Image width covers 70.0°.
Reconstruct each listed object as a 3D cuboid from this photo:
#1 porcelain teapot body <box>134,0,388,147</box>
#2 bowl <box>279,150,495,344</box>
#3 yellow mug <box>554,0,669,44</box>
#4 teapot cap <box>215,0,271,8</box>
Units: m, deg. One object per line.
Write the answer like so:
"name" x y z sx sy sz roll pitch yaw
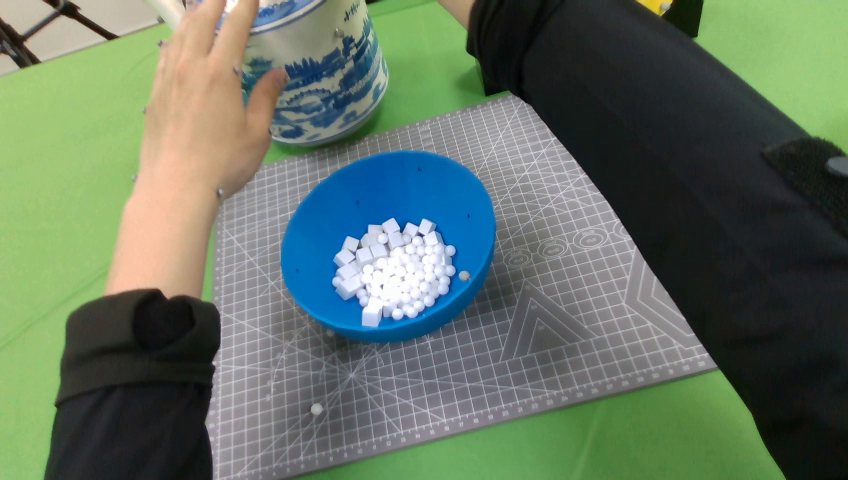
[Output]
"porcelain teapot body" -0.154 -0.196 0.533 0.205 0.228 0.144 -5 55 12
"bowl" -0.019 0.016 0.437 0.151 0.077 0.150 -7 54 10
"yellow mug" 0.154 -0.220 0.508 0.099 0.064 0.130 14 62 23
"teapot cap" -0.136 -0.219 0.495 0.085 0.044 0.084 -8 55 12
